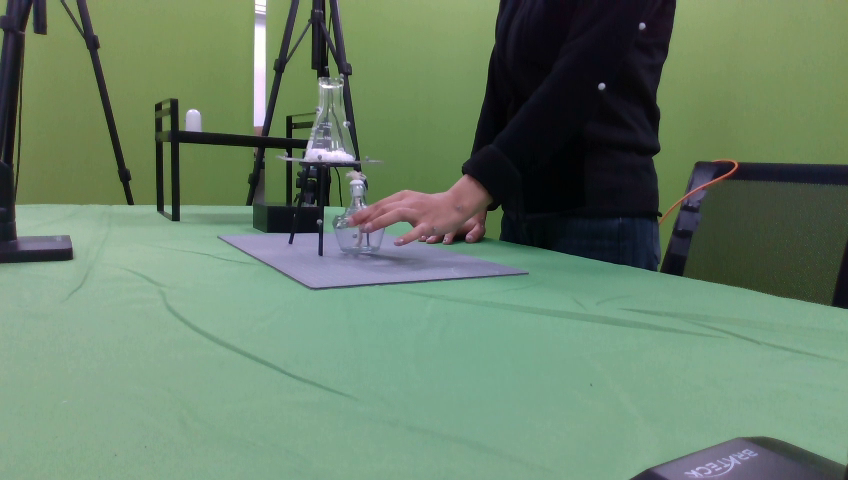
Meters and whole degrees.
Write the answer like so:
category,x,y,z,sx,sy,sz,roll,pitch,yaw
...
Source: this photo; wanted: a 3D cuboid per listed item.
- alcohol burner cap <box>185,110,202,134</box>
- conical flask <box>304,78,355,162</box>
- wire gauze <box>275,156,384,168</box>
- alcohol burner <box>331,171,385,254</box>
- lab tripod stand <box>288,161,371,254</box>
category,x,y,z,sx,sy,sz,roll,pitch,yaw
alcohol burner cap,-0.470,-0.242,1.234,0.034,0.048,0.034,3,7,0
conical flask,-0.139,-0.175,0.893,0.075,0.122,0.075,2,8,0
wire gauze,-0.142,-0.116,0.900,0.122,0.011,0.124,-1,5,-37
alcohol burner,-0.096,-0.040,0.869,0.078,0.119,0.078,-3,4,1
lab tripod stand,-0.148,-0.052,0.909,0.148,0.131,0.148,1,8,0
